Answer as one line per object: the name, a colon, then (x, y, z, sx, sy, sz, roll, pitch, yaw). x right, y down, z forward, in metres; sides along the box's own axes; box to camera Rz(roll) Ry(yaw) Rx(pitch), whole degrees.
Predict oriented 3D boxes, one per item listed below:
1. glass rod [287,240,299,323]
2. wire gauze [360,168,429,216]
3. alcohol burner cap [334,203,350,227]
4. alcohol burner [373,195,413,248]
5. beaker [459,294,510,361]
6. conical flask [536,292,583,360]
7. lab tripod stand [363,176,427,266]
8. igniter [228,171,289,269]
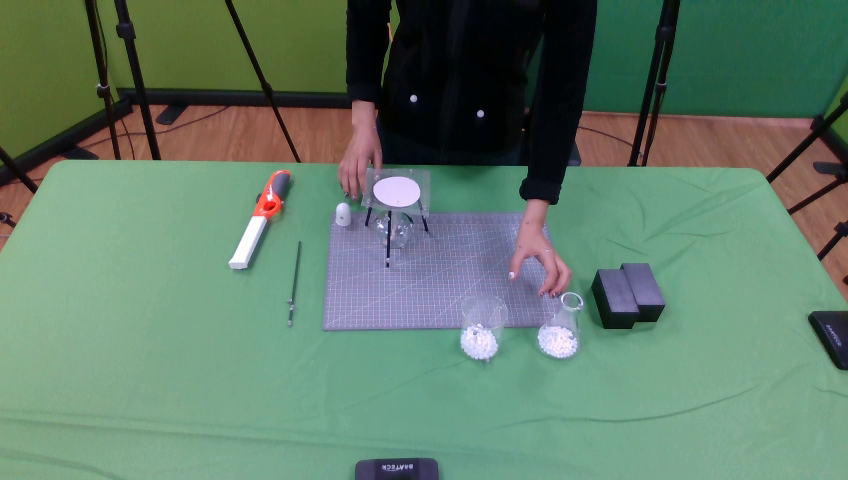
glass rod: (-0.242, 0.072, 1.119, 0.008, 0.008, 0.198, -1, 47, -5)
wire gauze: (-0.052, -0.093, 1.111, 0.125, 0.011, 0.120, 5, 44, -1)
alcohol burner cap: (-0.166, -0.054, 1.221, 0.034, 0.048, 0.033, 2, 46, -2)
alcohol burner: (-0.059, -0.041, 1.167, 0.078, 0.119, 0.077, 4, 46, -4)
beaker: (0.095, 0.147, 1.012, 0.083, 0.101, 0.074, 26, 49, 21)
conical flask: (0.234, 0.139, 1.015, 0.075, 0.122, 0.075, 2, 46, -2)
lab tripod stand: (-0.058, -0.047, 1.159, 0.148, 0.132, 0.147, 3, 44, -2)
igniter: (-0.328, -0.049, 1.218, 0.057, 0.025, 0.275, 1, 45, 11)
